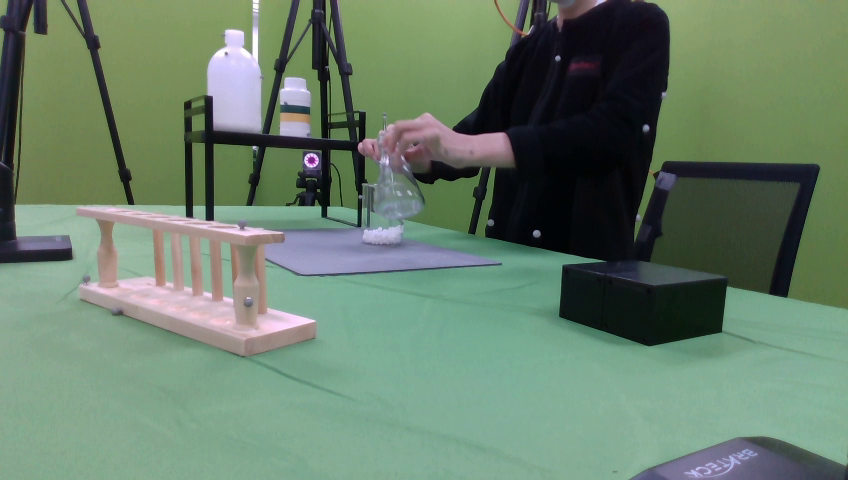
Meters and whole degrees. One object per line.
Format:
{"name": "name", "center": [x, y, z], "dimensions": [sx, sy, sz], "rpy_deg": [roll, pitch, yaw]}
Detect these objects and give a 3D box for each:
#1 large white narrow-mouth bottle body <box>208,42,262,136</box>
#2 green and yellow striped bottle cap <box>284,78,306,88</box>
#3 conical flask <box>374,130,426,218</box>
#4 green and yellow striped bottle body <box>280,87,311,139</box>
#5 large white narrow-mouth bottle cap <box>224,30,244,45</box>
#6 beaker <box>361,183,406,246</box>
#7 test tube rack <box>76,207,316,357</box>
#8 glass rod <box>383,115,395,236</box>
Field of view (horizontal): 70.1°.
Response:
{"name": "large white narrow-mouth bottle body", "center": [-0.368, -0.304, 1.181], "dimensions": [0.102, 0.194, 0.101], "rpy_deg": [2, 9, 0]}
{"name": "green and yellow striped bottle cap", "center": [-0.268, -0.325, 1.259], "dimensions": [0.045, 0.020, 0.045], "rpy_deg": [5, 7, 0]}
{"name": "conical flask", "center": [-0.042, -0.098, 0.875], "dimensions": [0.075, 0.121, 0.075], "rpy_deg": [-8, -19, -3]}
{"name": "green and yellow striped bottle body", "center": [-0.269, -0.274, 1.266], "dimensions": [0.063, 0.119, 0.063], "rpy_deg": [3, 7, 0]}
{"name": "large white narrow-mouth bottle cap", "center": [-0.365, -0.389, 1.166], "dimensions": [0.038, 0.024, 0.037], "rpy_deg": [2, 9, 0]}
{"name": "beaker", "center": [-0.067, -0.042, 0.993], "dimensions": [0.074, 0.100, 0.084], "rpy_deg": [1, 8, -8]}
{"name": "test tube rack", "center": [-0.196, 0.023, 0.500], "dimensions": [0.241, 0.085, 0.067], "rpy_deg": [8, 9, 36]}
{"name": "glass rod", "center": [-0.058, -0.105, 0.997], "dimensions": [0.008, 0.199, 0.008], "rpy_deg": [-4, 5, 1]}
